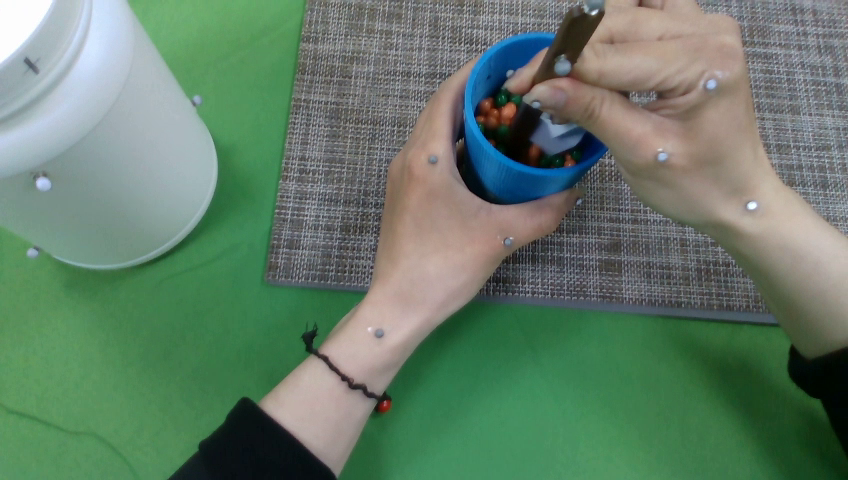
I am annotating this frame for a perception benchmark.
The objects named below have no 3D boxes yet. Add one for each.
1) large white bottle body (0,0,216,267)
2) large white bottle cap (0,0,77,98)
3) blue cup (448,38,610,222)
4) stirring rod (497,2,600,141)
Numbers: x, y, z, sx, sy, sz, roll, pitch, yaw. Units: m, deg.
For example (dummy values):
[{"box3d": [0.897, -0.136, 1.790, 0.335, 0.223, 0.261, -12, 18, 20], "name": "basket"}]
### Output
[{"box3d": [-0.202, -0.071, 0.322, 0.131, 0.185, 0.130, 1, 71, -1], "name": "large white bottle body"}, {"box3d": [-0.201, -0.099, 0.242, 0.115, 0.018, 0.114, 1, 71, -1], "name": "large white bottle cap"}, {"box3d": [0.057, -0.055, 0.366, 0.092, 0.101, 0.092, 0, 72, 2], "name": "blue cup"}, {"box3d": [0.053, -0.068, 0.296, 0.014, 0.176, 0.006, -17, 83, -4], "name": "stirring rod"}]
